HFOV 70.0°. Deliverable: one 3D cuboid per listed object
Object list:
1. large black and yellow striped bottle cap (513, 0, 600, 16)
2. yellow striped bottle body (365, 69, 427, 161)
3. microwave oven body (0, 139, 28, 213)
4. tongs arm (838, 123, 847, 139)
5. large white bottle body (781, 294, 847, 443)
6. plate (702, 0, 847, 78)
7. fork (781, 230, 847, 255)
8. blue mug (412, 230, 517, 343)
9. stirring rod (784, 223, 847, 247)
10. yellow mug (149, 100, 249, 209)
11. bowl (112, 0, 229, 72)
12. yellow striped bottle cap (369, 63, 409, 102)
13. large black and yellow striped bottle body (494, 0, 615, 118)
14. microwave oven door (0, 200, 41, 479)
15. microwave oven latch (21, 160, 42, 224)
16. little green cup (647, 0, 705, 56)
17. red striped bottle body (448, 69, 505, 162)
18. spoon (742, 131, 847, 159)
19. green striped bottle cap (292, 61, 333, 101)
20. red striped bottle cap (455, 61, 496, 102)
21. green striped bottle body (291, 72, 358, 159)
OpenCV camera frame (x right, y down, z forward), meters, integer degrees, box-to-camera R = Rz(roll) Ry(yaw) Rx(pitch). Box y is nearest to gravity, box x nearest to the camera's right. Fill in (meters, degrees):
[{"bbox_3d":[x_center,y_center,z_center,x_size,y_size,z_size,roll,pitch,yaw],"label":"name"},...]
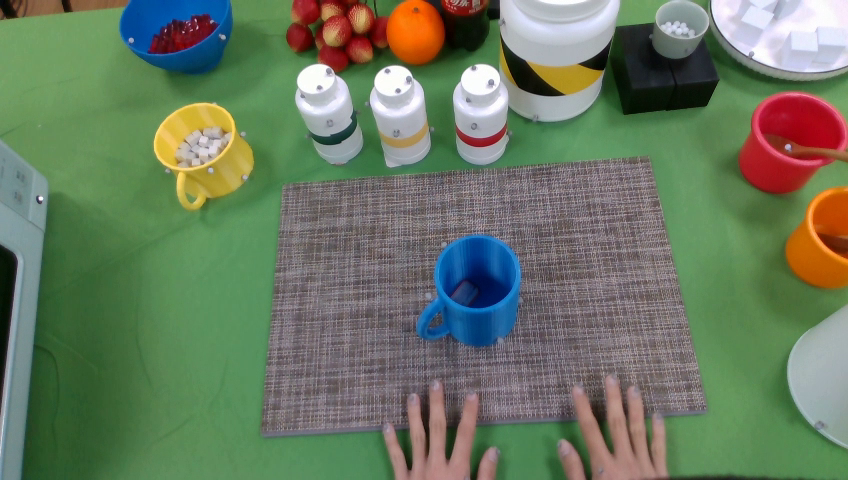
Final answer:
[{"bbox_3d":[0.140,-0.284,0.633,0.115,0.019,0.114,-3,65,7],"label":"large black and yellow striped bottle cap"},{"bbox_3d":[-0.033,-0.152,0.717,0.063,0.121,0.062,-2,63,5],"label":"yellow striped bottle body"},{"bbox_3d":[-0.606,0.088,0.572,0.326,0.262,0.437,-12,64,-1],"label":"microwave oven body"},{"bbox_3d":[0.625,-0.016,0.637,0.051,0.027,0.381,-37,67,-16],"label":"tongs arm"},{"bbox_3d":[0.410,0.099,0.517,0.130,0.186,0.129,-2,64,5],"label":"large white bottle body"},{"bbox_3d":[0.464,-0.288,0.782,0.209,0.038,0.207,-2,65,4],"label":"plate"},{"bbox_3d":[0.460,-0.009,0.586,0.206,0.019,0.028,-15,50,49],"label":"fork"},{"bbox_3d":[0.038,0.059,0.613,0.116,0.107,0.081,-33,65,-10],"label":"blue mug"},{"bbox_3d":[0.431,0.006,0.587,0.014,0.006,0.174,-28,23,-13],"label":"stirring rod"},{"bbox_3d":[-0.279,-0.100,0.744,0.100,0.064,0.130,5,65,8],"label":"yellow mug"},{"bbox_3d":[-0.332,-0.287,0.833,0.151,0.077,0.150,-2,64,4],"label":"bowl"},{"bbox_3d":[-0.039,-0.175,0.670,0.044,0.019,0.044,0,61,1],"label":"yellow striped bottle cap"},{"bbox_3d":[0.148,-0.247,0.710,0.131,0.185,0.129,-2,64,5],"label":"large black and yellow striped bottle body"},{"bbox_3d":[-0.456,0.091,0.551,0.039,0.246,0.352,-13,64,0],"label":"microwave oven door"},{"bbox_3d":[-0.488,-0.056,0.738,0.030,0.030,0.078,-11,65,-1],"label":"microwave oven latch"},{"bbox_3d":[0.298,-0.252,0.723,0.061,0.039,0.061,-1,62,2],"label":"little green cup"},{"bbox_3d":[0.062,-0.149,0.707,0.063,0.121,0.062,-3,63,7],"label":"red striped bottle body"},{"bbox_3d":[0.411,-0.093,0.634,0.041,0.192,0.022,-21,109,-8],"label":"spoon"},{"bbox_3d":[-0.125,-0.179,0.680,0.044,0.020,0.044,-1,63,3],"label":"green striped bottle cap"},{"bbox_3d":[0.056,-0.173,0.660,0.044,0.018,0.044,0,63,1],"label":"red striped bottle cap"},{"bbox_3d":[-0.119,-0.155,0.727,0.063,0.120,0.062,-2,64,4],"label":"green striped bottle body"}]
